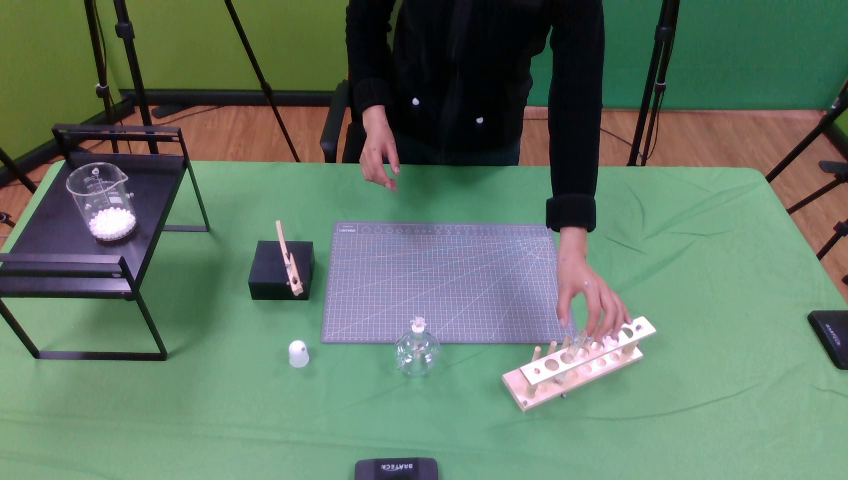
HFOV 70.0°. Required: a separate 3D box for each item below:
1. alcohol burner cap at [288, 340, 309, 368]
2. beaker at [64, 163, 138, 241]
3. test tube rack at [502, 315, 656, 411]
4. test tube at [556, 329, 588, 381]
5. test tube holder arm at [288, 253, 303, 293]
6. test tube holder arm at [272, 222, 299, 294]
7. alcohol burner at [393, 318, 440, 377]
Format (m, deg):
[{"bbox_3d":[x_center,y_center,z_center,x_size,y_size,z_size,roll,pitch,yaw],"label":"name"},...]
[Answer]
[{"bbox_3d":[-0.207,0.183,0.991,0.034,0.048,0.033,3,47,-2],"label":"alcohol burner cap"},{"bbox_3d":[-0.477,-0.055,0.910,0.084,0.101,0.073,-9,48,-13],"label":"beaker"},{"bbox_3d":[0.253,0.186,0.989,0.242,0.085,0.066,-18,50,-20],"label":"test tube rack"},{"bbox_3d":[0.224,0.178,0.925,0.017,0.151,0.017,2,52,-2],"label":"test tube"},{"bbox_3d":[-0.227,0.057,1.059,0.010,0.015,0.087,-16,48,-15],"label":"test tube holder arm"},{"bbox_3d":[-0.250,0.029,1.087,0.013,0.015,0.177,-17,48,-16],"label":"test tube holder arm"},{"bbox_3d":[-0.011,0.166,0.971,0.078,0.120,0.077,1,45,-1],"label":"alcohol burner"}]
